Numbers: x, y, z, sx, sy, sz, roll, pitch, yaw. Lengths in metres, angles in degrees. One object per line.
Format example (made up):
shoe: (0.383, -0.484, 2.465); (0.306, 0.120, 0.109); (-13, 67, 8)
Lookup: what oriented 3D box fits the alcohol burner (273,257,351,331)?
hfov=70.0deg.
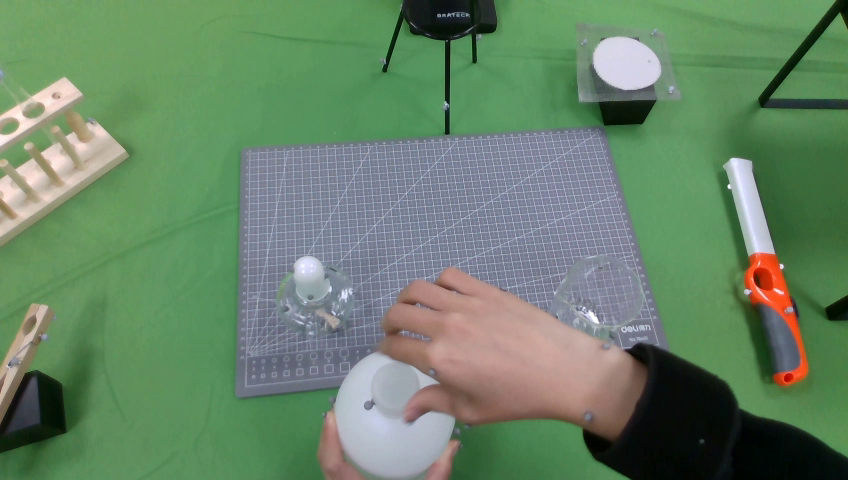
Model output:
alcohol burner: (-0.110, 0.045, 0.592); (0.078, 0.120, 0.077); (2, 62, -4)

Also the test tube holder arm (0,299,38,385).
test tube holder arm: (-0.373, 0.097, 0.554); (0.010, 0.015, 0.087); (6, 64, 6)

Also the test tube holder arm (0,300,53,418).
test tube holder arm: (-0.374, 0.137, 0.535); (0.013, 0.015, 0.177); (7, 65, 6)

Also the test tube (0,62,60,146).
test tube: (-0.417, -0.146, 0.628); (0.017, 0.151, 0.017); (0, 62, 0)

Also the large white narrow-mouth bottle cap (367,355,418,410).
large white narrow-mouth bottle cap: (-0.023, 0.101, 0.431); (0.038, 0.024, 0.037); (1, 64, -3)

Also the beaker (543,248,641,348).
beaker: (0.161, 0.063, 0.609); (0.084, 0.101, 0.073); (-3, 64, -4)

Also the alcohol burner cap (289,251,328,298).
alcohol burner cap: (-0.109, 0.030, 0.559); (0.034, 0.048, 0.033); (0, 59, 0)

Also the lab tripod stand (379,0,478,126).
lab tripod stand: (0.015, -0.233, 0.726); (0.148, 0.132, 0.147); (2, 65, -4)

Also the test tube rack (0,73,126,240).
test tube rack: (-0.454, -0.065, 0.641); (0.066, 0.086, 0.242); (41, 69, 15)

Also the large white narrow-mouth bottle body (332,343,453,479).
large white narrow-mouth bottle body: (-0.027, 0.142, 0.510); (0.102, 0.196, 0.101); (1, 64, -2)

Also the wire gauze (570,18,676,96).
wire gauze: (0.244, -0.228, 0.753); (0.121, 0.011, 0.124); (2, 64, -2)

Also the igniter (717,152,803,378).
igniter: (0.379, 0.020, 0.687); (0.057, 0.025, 0.274); (6, 64, -12)
